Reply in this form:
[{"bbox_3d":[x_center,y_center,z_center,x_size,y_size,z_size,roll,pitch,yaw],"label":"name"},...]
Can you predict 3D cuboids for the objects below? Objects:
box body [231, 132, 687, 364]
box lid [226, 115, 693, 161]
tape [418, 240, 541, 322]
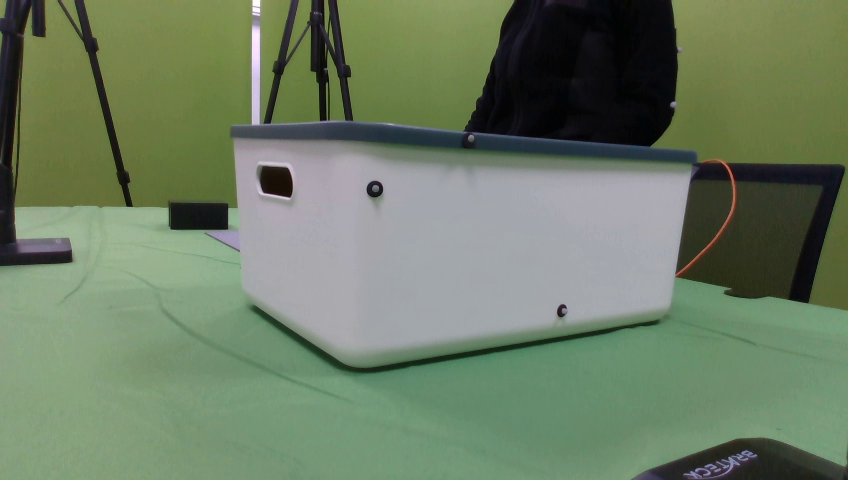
[{"bbox_3d":[0.031,-0.013,0.563,0.366,0.160,0.253,-3,8,-33],"label":"box body"},{"bbox_3d":[0.031,-0.086,0.554,0.373,0.015,0.262,-2,8,-33],"label":"box lid"},{"bbox_3d":[0.052,0.035,0.571,0.117,0.052,0.117,1,10,0],"label":"tape"}]
